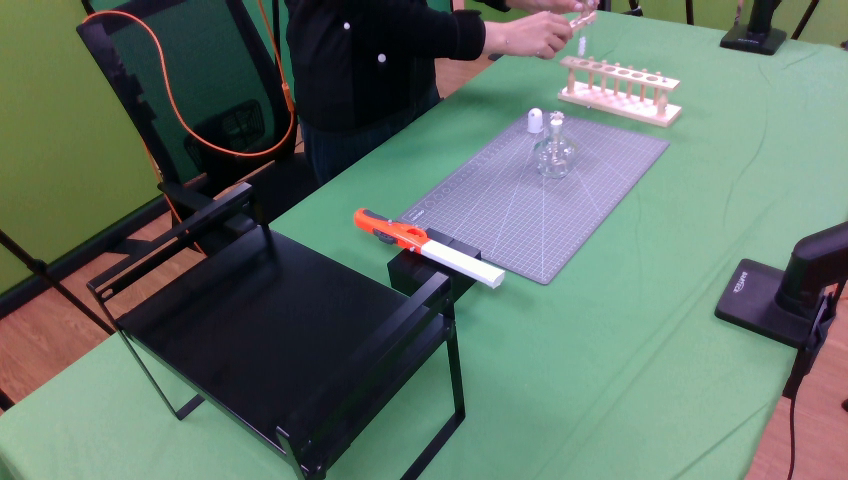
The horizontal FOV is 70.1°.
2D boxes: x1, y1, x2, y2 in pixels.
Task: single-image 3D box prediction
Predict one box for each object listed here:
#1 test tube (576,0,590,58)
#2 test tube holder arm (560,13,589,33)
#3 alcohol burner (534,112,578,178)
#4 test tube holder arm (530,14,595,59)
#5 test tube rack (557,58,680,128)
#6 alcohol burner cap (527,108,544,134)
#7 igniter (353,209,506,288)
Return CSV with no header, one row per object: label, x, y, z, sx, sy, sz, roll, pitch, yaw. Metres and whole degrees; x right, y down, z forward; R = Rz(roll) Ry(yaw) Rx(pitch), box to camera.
test tube,0.310,-0.424,1.175,0.017,0.151,0.017,-4,46,4
test tube holder arm,0.291,-0.414,1.166,0.010,0.015,0.088,27,55,35
alcohol burner,0.232,-0.170,1.065,0.078,0.119,0.077,-5,39,5
test tube holder arm,0.263,-0.386,1.143,0.179,0.015,0.013,-37,48,-24
test tube rack,0.395,-0.309,1.230,0.240,0.085,0.067,25,50,33
alcohol burner cap,0.223,-0.239,1.203,0.034,0.048,0.033,-5,42,5
igniter,-0.003,0.006,0.892,0.274,0.025,0.057,24,37,31
